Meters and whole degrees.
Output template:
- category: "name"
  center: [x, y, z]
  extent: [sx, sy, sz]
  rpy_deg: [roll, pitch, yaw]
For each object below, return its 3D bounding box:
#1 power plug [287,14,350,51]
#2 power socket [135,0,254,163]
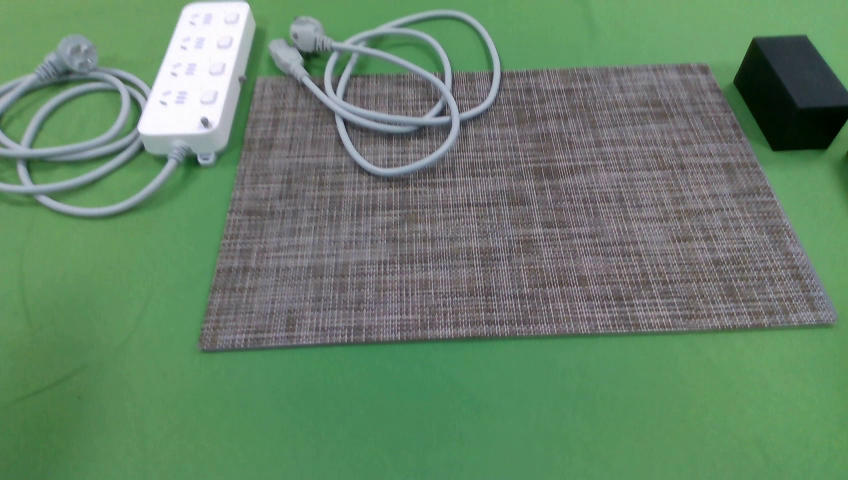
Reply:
- category: "power plug"
  center: [-0.105, -0.203, 0.617]
  extent: [0.072, 0.035, 0.052]
  rpy_deg: [27, 32, 1]
- category: "power socket"
  center: [-0.215, -0.165, 0.584]
  extent: [0.072, 0.033, 0.224]
  rpy_deg: [-2, 53, 0]
